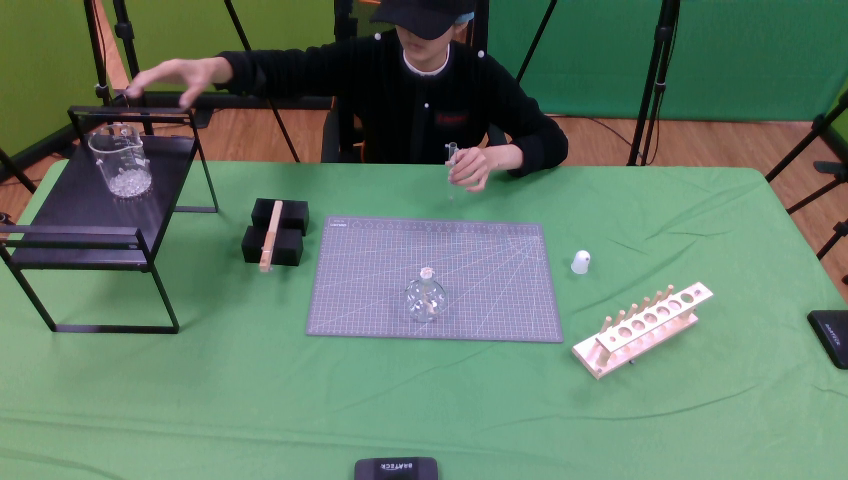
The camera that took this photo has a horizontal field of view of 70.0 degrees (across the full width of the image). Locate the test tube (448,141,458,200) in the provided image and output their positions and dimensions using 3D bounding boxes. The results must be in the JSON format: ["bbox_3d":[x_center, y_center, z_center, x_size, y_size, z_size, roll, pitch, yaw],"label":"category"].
[{"bbox_3d":[0.056,-0.132,1.184,0.017,0.151,0.017,0,51,1],"label":"test tube"}]

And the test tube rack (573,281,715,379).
[{"bbox_3d":[0.378,0.140,1.038,0.242,0.085,0.066,-22,51,-23],"label":"test tube rack"}]

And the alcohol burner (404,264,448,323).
[{"bbox_3d":[0.003,0.087,1.042,0.078,0.120,0.077,1,45,0],"label":"alcohol burner"}]

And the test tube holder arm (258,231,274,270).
[{"bbox_3d":[-0.282,0.018,1.086,0.015,0.010,0.087,-3,47,3],"label":"test tube holder arm"}]

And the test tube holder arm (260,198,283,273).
[{"bbox_3d":[-0.282,-0.012,1.121,0.015,0.013,0.177,-3,48,3],"label":"test tube holder arm"}]

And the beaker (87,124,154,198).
[{"bbox_3d":[-0.482,-0.124,0.978,0.084,0.101,0.073,9,46,4],"label":"beaker"}]

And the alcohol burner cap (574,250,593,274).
[{"bbox_3d":[0.308,0.039,1.163,0.034,0.048,0.033,1,46,-1],"label":"alcohol burner cap"}]
